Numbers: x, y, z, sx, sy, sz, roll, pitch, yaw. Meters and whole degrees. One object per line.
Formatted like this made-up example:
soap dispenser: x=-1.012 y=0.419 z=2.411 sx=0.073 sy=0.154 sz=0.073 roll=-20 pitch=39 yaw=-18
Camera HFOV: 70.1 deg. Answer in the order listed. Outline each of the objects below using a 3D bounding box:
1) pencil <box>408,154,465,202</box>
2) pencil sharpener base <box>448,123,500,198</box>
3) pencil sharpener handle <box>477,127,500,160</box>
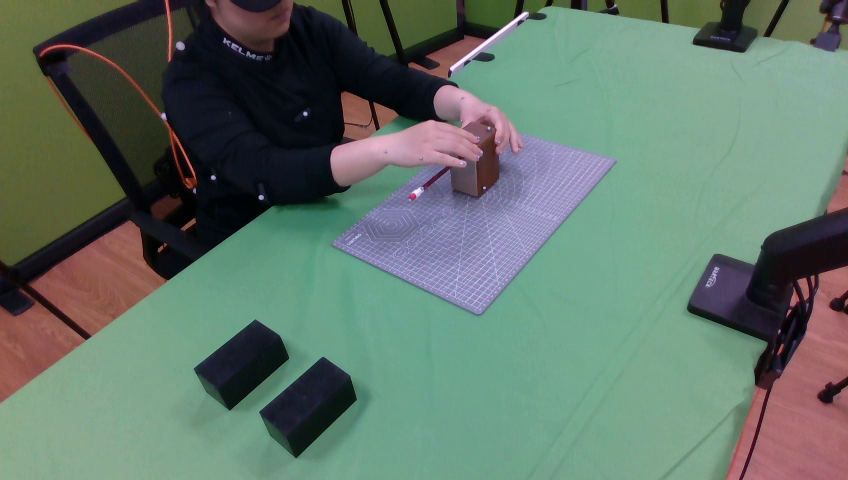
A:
pencil: x=0.036 y=-0.116 z=0.988 sx=0.012 sy=0.012 sz=0.194 roll=22 pitch=47 yaw=31
pencil sharpener base: x=0.089 y=-0.139 z=1.051 sx=0.061 sy=0.107 sz=0.077 roll=21 pitch=47 yaw=30
pencil sharpener handle: x=0.119 y=-0.177 z=1.073 sx=0.035 sy=0.068 sz=0.031 roll=17 pitch=45 yaw=34
